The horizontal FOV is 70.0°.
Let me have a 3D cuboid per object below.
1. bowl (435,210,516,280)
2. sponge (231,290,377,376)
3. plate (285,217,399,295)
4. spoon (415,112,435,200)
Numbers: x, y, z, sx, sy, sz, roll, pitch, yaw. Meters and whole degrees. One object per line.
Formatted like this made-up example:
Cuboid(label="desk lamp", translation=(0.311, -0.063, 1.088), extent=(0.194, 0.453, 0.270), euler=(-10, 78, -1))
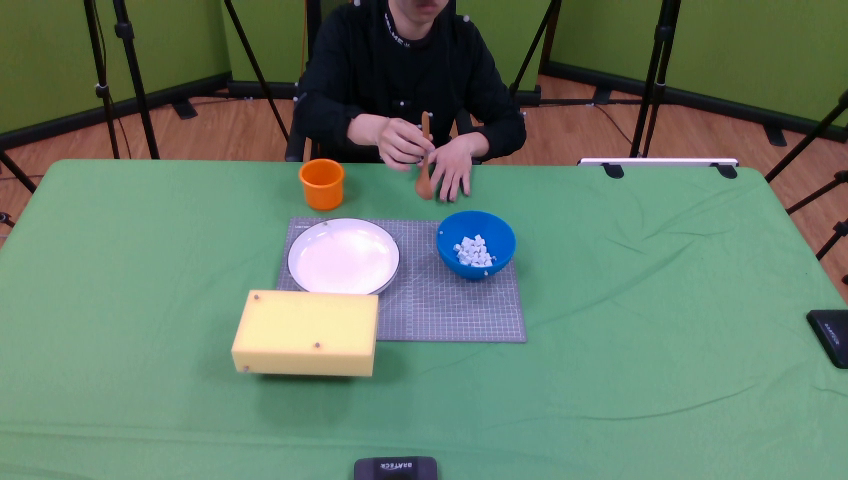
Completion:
Cuboid(label="bowl", translation=(0.093, 0.022, 1.141), extent=(0.151, 0.077, 0.150), euler=(3, 46, -2))
Cuboid(label="sponge", translation=(-0.180, 0.144, 0.949), extent=(0.207, 0.061, 0.117), euler=(2, 46, -2))
Cuboid(label="plate", translation=(-0.150, 0.041, 1.131), extent=(0.209, 0.038, 0.208), euler=(2, 46, -2))
Cuboid(label="spoon", translation=(0.003, -0.146, 1.083), extent=(0.041, 0.195, 0.021), euler=(24, 46, 24))
